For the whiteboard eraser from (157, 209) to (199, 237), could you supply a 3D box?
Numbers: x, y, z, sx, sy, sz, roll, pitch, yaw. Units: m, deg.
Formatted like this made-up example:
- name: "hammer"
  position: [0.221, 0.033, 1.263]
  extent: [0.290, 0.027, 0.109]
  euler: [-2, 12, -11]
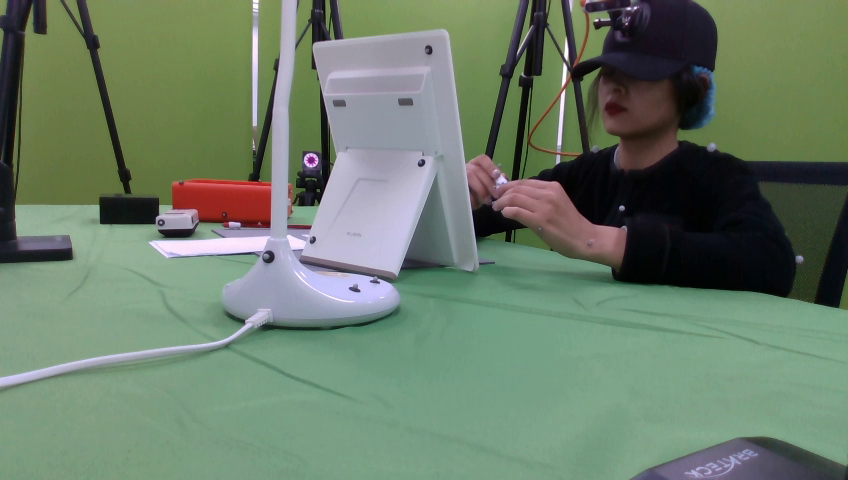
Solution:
- name: "whiteboard eraser"
  position: [-0.411, -0.029, 1.016]
  extent: [0.056, 0.042, 0.112]
  euler: [2, 7, -16]

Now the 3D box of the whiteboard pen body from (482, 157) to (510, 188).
- name: "whiteboard pen body"
  position: [0.109, -0.096, 0.896]
  extent: [0.017, 0.017, 0.140]
  euler: [1, 25, -10]

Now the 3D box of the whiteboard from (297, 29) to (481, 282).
- name: "whiteboard"
  position: [-0.075, -0.082, 0.741]
  extent: [0.216, 0.305, 0.144]
  euler: [9, 29, 37]

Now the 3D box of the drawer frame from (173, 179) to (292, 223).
- name: "drawer frame"
  position: [-0.400, -0.086, 1.299]
  extent: [0.214, 0.082, 0.201]
  euler: [1, 8, -8]

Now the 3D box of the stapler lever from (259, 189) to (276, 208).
- name: "stapler lever"
  position: [-0.335, -0.090, 1.300]
  extent: [0.027, 0.040, 0.118]
  euler: [15, 4, -10]

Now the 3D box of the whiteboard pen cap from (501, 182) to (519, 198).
- name: "whiteboard pen cap"
  position: [0.119, -0.071, 0.839]
  extent: [0.018, 0.018, 0.033]
  euler: [1, 18, -12]

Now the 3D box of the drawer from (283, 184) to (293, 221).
- name: "drawer"
  position: [-0.396, -0.085, 1.301]
  extent: [0.212, 0.073, 0.194]
  euler: [1, 8, -7]

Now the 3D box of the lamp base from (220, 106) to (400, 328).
- name: "lamp base"
  position: [-0.101, -0.023, 0.531]
  extent: [0.160, 0.180, 0.179]
  euler: [4, 10, 10]

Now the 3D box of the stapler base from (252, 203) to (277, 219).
- name: "stapler base"
  position: [-0.341, -0.065, 1.301]
  extent: [0.041, 0.024, 0.130]
  euler: [15, 5, -10]

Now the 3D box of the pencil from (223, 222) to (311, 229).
- name: "pencil"
  position: [-0.274, -0.026, 1.132]
  extent: [0.195, 0.012, 0.012]
  euler: [1, 8, -25]
